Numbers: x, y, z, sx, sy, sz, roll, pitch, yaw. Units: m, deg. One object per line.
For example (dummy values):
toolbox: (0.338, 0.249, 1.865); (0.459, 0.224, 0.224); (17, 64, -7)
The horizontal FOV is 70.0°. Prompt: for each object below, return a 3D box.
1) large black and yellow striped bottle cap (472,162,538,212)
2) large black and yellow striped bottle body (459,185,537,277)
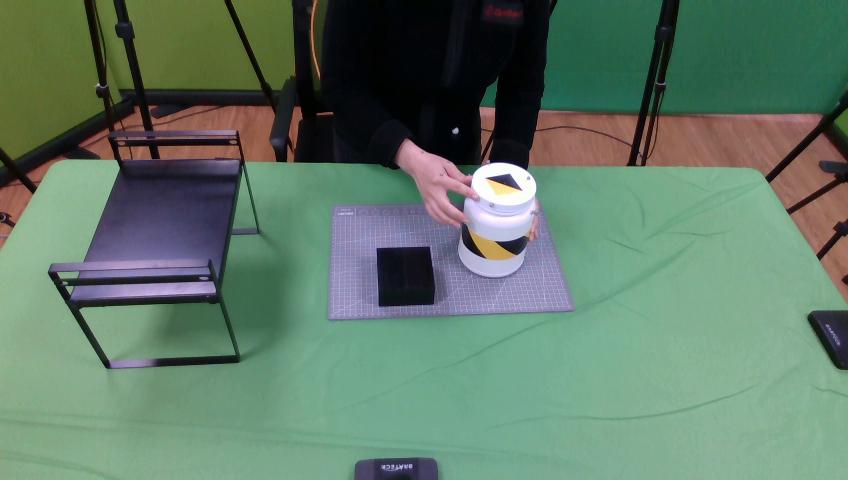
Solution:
large black and yellow striped bottle cap: (0.141, -0.095, 1.061); (0.115, 0.019, 0.114); (2, 47, -2)
large black and yellow striped bottle body: (0.136, -0.035, 1.122); (0.131, 0.185, 0.130); (2, 46, -2)
